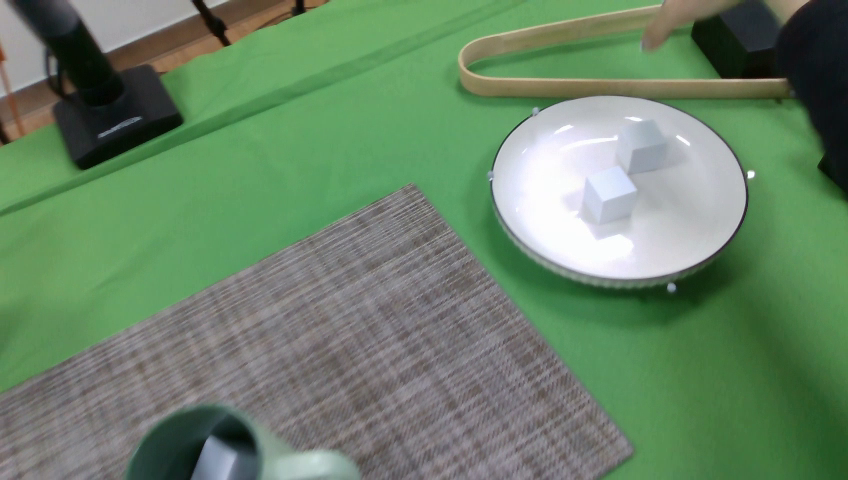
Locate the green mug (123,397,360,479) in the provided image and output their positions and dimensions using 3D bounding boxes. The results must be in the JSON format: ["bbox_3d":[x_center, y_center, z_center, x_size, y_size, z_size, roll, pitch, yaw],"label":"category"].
[{"bbox_3d":[-0.102,0.150,0.369,0.125,0.106,0.091,-10,53,0],"label":"green mug"}]

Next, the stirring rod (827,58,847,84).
[{"bbox_3d":[0.395,-0.096,0.480,0.006,0.014,0.174,-25,54,-14],"label":"stirring rod"}]

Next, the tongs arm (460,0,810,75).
[{"bbox_3d":[0.228,-0.224,0.644,0.385,0.027,0.050,-7,60,2],"label":"tongs arm"}]

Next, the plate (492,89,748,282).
[{"bbox_3d":[0.164,-0.048,0.524,0.207,0.039,0.205,-3,54,5],"label":"plate"}]

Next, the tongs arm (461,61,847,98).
[{"bbox_3d":[0.228,-0.158,0.603,0.387,0.028,0.028,3,64,9],"label":"tongs arm"}]
